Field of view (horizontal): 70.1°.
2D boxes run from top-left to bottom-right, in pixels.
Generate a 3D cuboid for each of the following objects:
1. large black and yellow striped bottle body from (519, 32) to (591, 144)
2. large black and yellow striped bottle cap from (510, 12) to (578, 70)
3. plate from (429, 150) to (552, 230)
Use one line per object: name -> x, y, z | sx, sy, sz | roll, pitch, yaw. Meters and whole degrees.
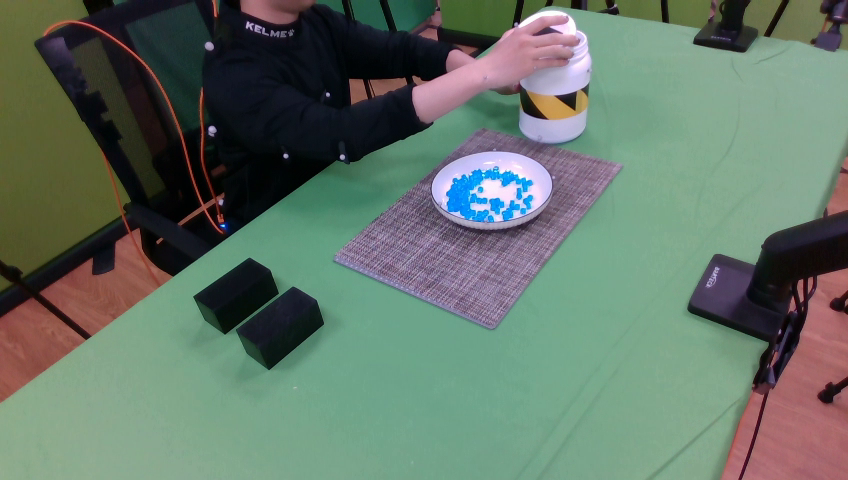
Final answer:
large black and yellow striped bottle body -> 0.247, -0.292, 1.149 | 0.131, 0.185, 0.130 | -4, 40, 4
large black and yellow striped bottle cap -> 0.205, -0.343, 1.040 | 0.114, 0.019, 0.114 | -11, 61, 20
plate -> 0.113, -0.082, 1.032 | 0.207, 0.039, 0.206 | -4, 41, 4
